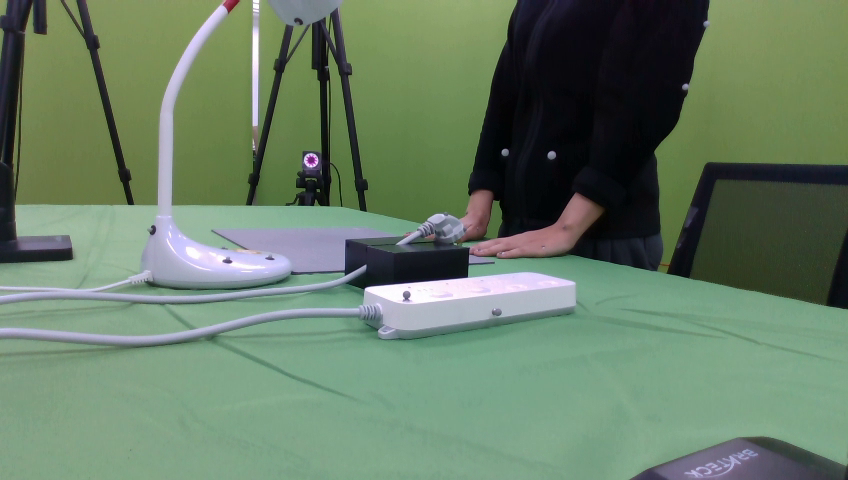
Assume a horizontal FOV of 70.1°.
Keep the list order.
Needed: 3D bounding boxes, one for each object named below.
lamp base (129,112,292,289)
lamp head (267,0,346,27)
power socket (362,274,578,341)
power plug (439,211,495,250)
[{"bbox_3d":[-0.233,-0.045,0.658,0.160,0.180,0.180,7,11,29],"label":"lamp base"},{"bbox_3d":[-0.157,-0.326,0.701,0.112,0.112,0.123,6,-16,26],"label":"lamp head"},{"bbox_3d":[0.048,0.056,0.549,0.228,0.032,0.072,-3,8,-35],"label":"power socket"},{"bbox_3d":[0.049,-0.006,0.683,0.072,0.053,0.035,15,57,39],"label":"power plug"}]
